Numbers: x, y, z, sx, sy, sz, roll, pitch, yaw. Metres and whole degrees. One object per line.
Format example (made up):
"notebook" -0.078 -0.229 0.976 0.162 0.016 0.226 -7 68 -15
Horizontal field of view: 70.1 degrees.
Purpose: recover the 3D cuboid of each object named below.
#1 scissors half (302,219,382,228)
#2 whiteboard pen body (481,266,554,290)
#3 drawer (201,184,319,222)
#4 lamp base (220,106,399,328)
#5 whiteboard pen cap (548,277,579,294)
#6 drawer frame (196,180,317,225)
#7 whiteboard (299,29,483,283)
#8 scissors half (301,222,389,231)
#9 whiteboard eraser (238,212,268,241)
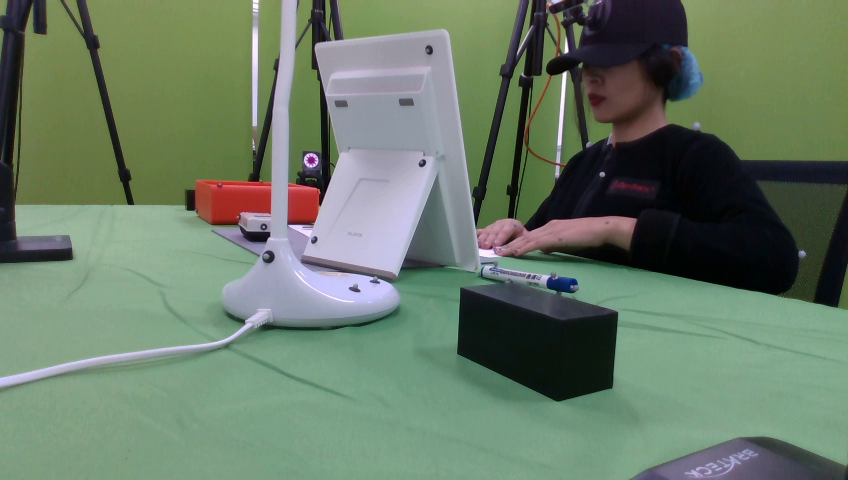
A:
"scissors half" -0.161 -0.031 1.198 0.176 0.013 0.040 -7 15 -39
"whiteboard pen body" 0.115 0.044 0.695 0.017 0.017 0.140 -3 6 -35
"drawer" -0.353 -0.082 1.296 0.213 0.073 0.193 -2 10 -28
"lamp base" -0.101 -0.023 0.531 0.160 0.180 0.179 4 10 10
"whiteboard pen cap" 0.148 0.049 0.647 0.018 0.018 0.033 -3 3 -35
"drawer frame" -0.359 -0.083 1.292 0.215 0.082 0.200 -2 10 -30
"whiteboard" -0.074 -0.082 0.742 0.216 0.305 0.144 9 29 38
"scissors half" -0.151 -0.025 1.180 0.176 0.013 0.040 -1 17 -21
"whiteboard eraser" -0.272 -0.024 0.998 0.056 0.042 0.112 -2 9 -24
